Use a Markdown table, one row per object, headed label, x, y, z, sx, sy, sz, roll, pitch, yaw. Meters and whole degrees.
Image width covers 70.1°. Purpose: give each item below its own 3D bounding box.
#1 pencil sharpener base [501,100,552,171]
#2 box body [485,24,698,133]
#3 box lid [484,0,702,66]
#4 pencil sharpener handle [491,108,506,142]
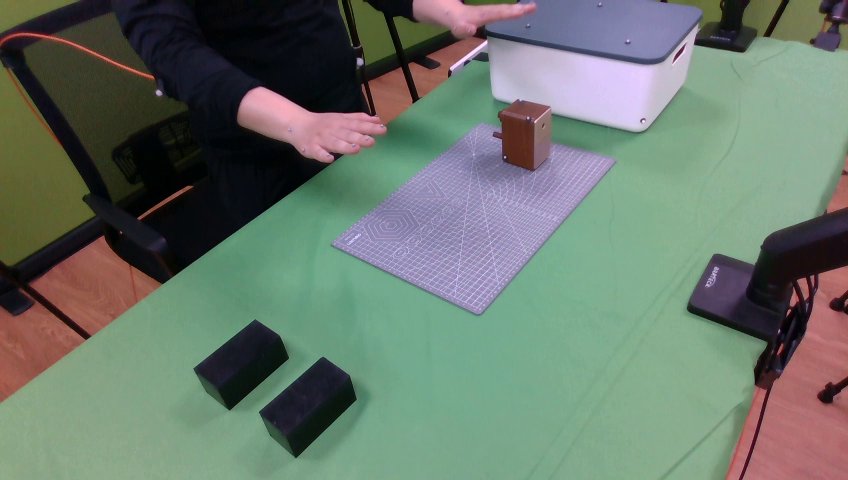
| label | x | y | z | sx | sy | sz | roll | pitch | yaw |
| --- | --- | --- | --- | --- | --- | --- | --- | --- | --- |
| pencil sharpener base | 0.184 | -0.191 | 1.097 | 0.076 | 0.107 | 0.061 | 23 | 49 | 32 |
| box body | 0.340 | -0.373 | 1.251 | 0.361 | 0.161 | 0.255 | 21 | 48 | 30 |
| box lid | 0.333 | -0.428 | 1.202 | 0.368 | 0.015 | 0.264 | 21 | 48 | 30 |
| pencil sharpener handle | 0.140 | -0.215 | 1.113 | 0.030 | 0.068 | 0.036 | 23 | 35 | 32 |
